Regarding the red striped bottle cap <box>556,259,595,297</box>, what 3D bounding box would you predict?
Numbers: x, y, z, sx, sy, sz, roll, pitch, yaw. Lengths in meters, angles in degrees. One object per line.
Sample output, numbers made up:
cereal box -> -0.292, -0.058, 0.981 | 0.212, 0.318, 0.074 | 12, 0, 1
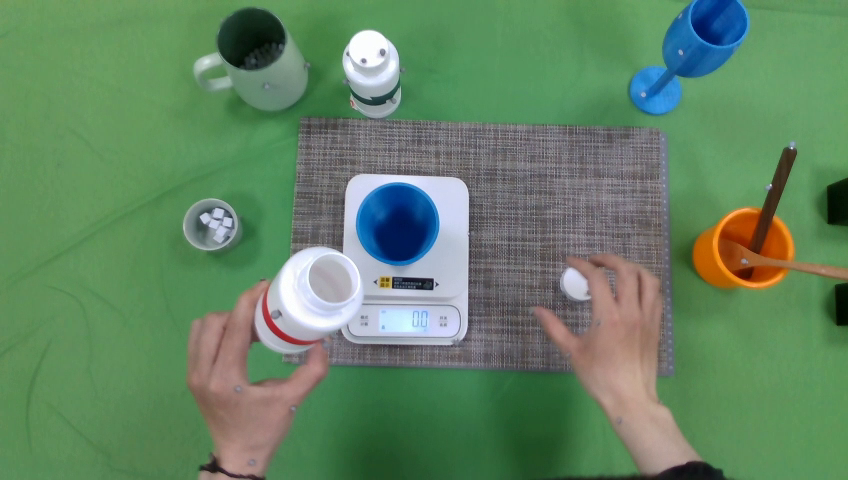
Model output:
red striped bottle cap -> 0.180, 0.045, 0.717 | 0.045, 0.018, 0.044 | 4, 76, -15

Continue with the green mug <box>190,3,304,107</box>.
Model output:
green mug -> -0.209, -0.208, 0.709 | 0.125, 0.105, 0.092 | -20, 82, -4

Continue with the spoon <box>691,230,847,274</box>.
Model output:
spoon -> 0.391, 0.020, 0.664 | 0.022, 0.192, 0.041 | 17, 88, -42

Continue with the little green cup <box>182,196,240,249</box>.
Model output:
little green cup -> -0.247, -0.018, 0.711 | 0.061, 0.039, 0.061 | 0, 81, -2

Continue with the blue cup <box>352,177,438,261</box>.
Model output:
blue cup -> -0.029, -0.015, 0.650 | 0.093, 0.100, 0.092 | 0, 83, -1

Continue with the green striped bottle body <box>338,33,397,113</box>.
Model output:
green striped bottle body -> -0.064, -0.198, 0.703 | 0.063, 0.119, 0.063 | 0, 80, -1

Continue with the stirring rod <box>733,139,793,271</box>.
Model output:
stirring rod -> 0.374, -0.033, 0.672 | 0.014, 0.178, 0.006 | 8, 40, 13

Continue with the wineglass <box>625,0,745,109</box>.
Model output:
wineglass -> 0.287, -0.211, 0.685 | 0.074, 0.172, 0.073 | 0, 80, 0

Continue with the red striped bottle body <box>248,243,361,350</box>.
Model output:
red striped bottle body -> -0.089, 0.042, 0.457 | 0.063, 0.119, 0.062 | 11, 66, -25

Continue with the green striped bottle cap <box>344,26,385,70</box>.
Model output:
green striped bottle cap -> -0.064, -0.207, 0.651 | 0.044, 0.020, 0.044 | 0, 80, -1

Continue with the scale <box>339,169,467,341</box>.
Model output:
scale -> -0.024, 0.016, 0.711 | 0.149, 0.031, 0.200 | 1, 82, -1
